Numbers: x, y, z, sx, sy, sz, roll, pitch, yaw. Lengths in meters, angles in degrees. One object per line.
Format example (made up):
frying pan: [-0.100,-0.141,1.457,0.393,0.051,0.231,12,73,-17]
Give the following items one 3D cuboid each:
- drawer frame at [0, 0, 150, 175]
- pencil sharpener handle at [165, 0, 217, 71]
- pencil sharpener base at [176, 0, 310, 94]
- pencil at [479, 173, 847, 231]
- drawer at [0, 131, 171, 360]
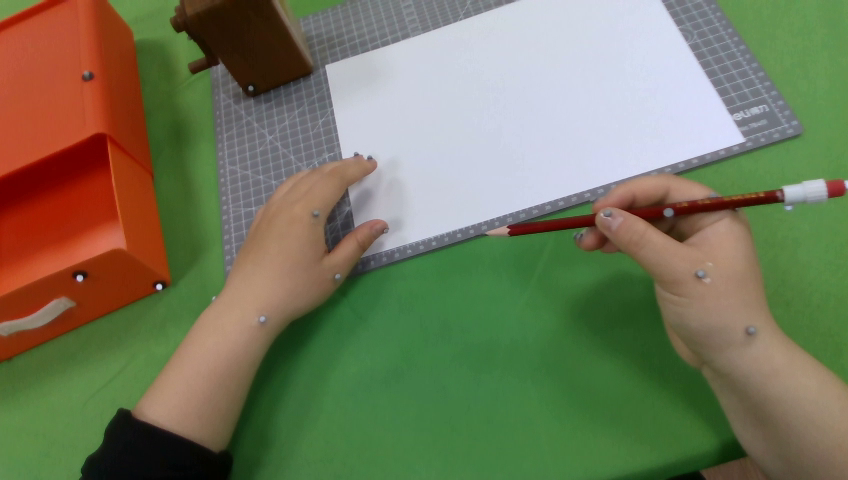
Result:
drawer frame: [-0.376,-0.115,0.568,0.201,0.083,0.211,-24,60,2]
pencil sharpener handle: [-0.209,-0.177,0.527,0.030,0.068,0.035,-23,58,3]
pencil sharpener base: [-0.159,-0.192,0.535,0.076,0.108,0.061,-23,61,3]
pencil: [0.125,-0.019,0.341,0.193,0.012,0.012,-7,62,18]
drawer: [-0.334,-0.021,0.514,0.194,0.074,0.209,-25,61,2]
